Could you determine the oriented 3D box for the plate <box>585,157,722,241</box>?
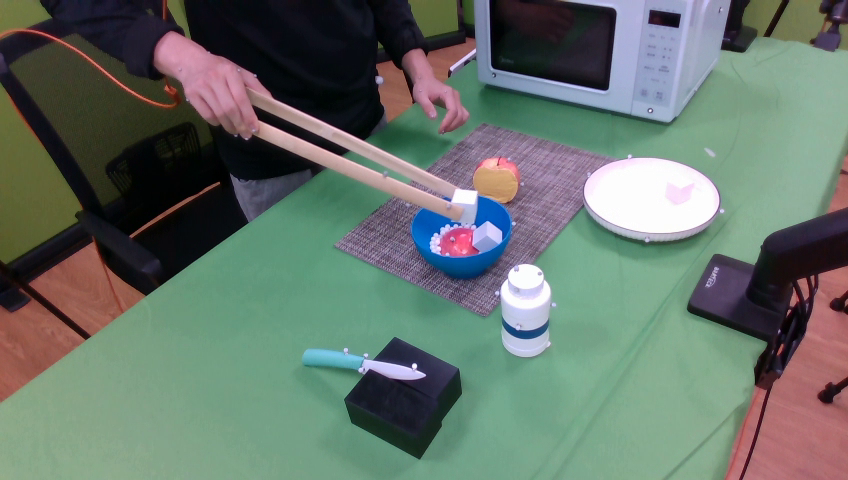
[{"bbox_3d":[0.367,-0.063,0.979,0.207,0.039,0.206,-4,40,4],"label":"plate"}]

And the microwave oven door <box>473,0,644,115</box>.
[{"bbox_3d":[0.257,-0.396,1.199,0.353,0.245,0.039,21,48,29],"label":"microwave oven door"}]

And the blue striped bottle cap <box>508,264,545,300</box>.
[{"bbox_3d":[0.125,0.051,0.735,0.044,0.021,0.044,-6,39,5],"label":"blue striped bottle cap"}]

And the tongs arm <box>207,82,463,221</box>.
[{"bbox_3d":[-0.123,-0.121,0.828,0.385,0.026,0.050,22,47,-2],"label":"tongs arm"}]

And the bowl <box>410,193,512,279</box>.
[{"bbox_3d":[0.058,0.005,0.905,0.151,0.077,0.150,-4,40,4],"label":"bowl"}]

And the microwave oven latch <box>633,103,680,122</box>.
[{"bbox_3d":[0.444,-0.249,1.157,0.078,0.029,0.030,21,48,30],"label":"microwave oven latch"}]

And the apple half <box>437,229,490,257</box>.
[{"bbox_3d":[0.056,0.003,0.901,0.081,0.033,0.081,-2,39,2],"label":"apple half"}]

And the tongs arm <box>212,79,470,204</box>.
[{"bbox_3d":[-0.115,-0.137,0.845,0.388,0.028,0.028,25,50,1],"label":"tongs arm"}]

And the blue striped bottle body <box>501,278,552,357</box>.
[{"bbox_3d":[0.130,0.089,0.769,0.063,0.121,0.063,-4,41,4],"label":"blue striped bottle body"}]

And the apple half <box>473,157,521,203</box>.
[{"bbox_3d":[0.127,-0.106,1.030,0.080,0.075,0.053,4,36,19],"label":"apple half"}]

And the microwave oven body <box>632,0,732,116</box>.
[{"bbox_3d":[0.377,-0.462,1.267,0.438,0.261,0.327,21,48,30],"label":"microwave oven body"}]

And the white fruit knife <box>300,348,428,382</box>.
[{"bbox_3d":[-0.079,0.155,0.748,0.206,0.027,0.016,0,20,35],"label":"white fruit knife"}]
